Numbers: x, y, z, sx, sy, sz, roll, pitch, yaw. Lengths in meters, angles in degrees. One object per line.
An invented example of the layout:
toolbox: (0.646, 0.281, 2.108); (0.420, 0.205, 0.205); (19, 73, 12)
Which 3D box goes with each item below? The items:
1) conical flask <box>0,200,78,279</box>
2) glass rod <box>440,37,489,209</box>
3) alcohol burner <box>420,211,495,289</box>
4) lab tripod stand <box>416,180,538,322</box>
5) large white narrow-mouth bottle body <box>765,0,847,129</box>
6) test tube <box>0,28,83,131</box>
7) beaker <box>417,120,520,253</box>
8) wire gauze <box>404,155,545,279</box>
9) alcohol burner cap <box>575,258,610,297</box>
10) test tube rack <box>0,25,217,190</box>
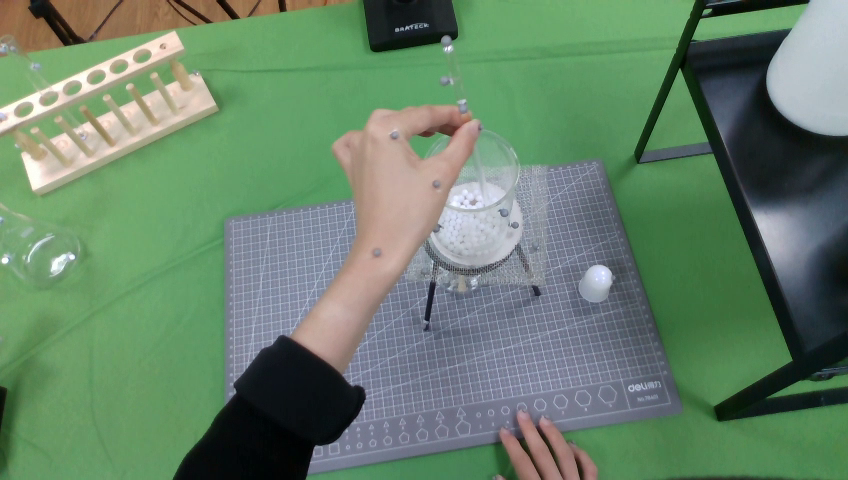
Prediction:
conical flask: (-0.443, -0.011, 0.655); (0.075, 0.123, 0.074); (-2, 65, 4)
glass rod: (0.032, -0.074, 0.447); (0.008, 0.201, 0.008); (-5, 62, 11)
alcohol burner: (0.034, 0.004, 0.617); (0.078, 0.120, 0.077); (-1, 64, 2)
lab tripod stand: (0.046, 0.011, 0.602); (0.148, 0.132, 0.147); (-1, 64, 2)
large white narrow-mouth bottle body: (0.335, -0.172, 0.438); (0.102, 0.196, 0.101); (-2, 65, 5)
test tube: (-0.438, -0.178, 0.696); (0.017, 0.151, 0.017); (-2, 59, 3)
beaker: (0.034, -0.037, 0.499); (0.084, 0.101, 0.073); (-31, 68, -10)
wire gauze: (0.048, -0.022, 0.544); (0.121, 0.011, 0.124); (4, 64, 3)
alcohol burner cap: (0.178, 0.036, 0.632); (0.034, 0.048, 0.033); (-2, 65, 4)
test tube rack: (-0.391, -0.161, 0.740); (0.242, 0.086, 0.066); (-28, 66, -9)
